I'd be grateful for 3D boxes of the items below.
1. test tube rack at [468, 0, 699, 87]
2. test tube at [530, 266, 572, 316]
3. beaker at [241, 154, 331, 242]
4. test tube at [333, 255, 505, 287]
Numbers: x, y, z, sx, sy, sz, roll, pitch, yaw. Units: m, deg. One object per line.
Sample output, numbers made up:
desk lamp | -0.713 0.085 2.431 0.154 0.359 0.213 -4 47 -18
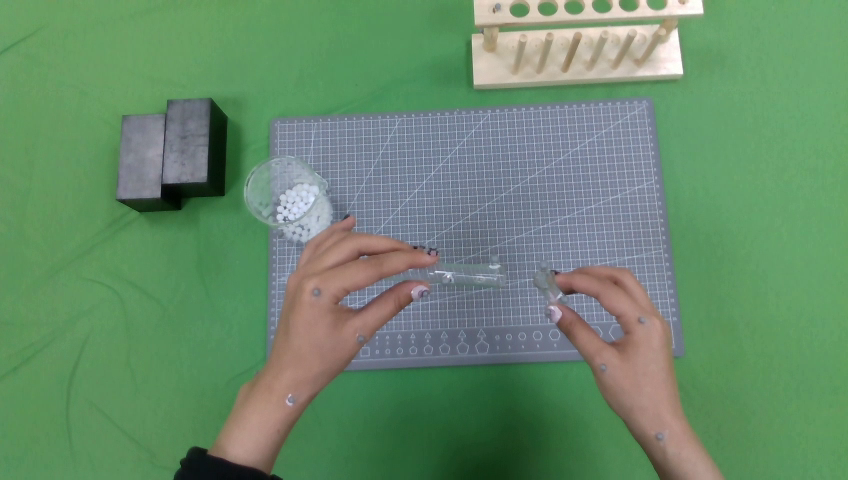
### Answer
test tube rack | 0.173 -0.229 0.685 0.242 0.085 0.066 -2 78 2
test tube | 0.106 0.045 0.496 0.017 0.152 0.017 -5 73 18
beaker | -0.140 -0.041 0.649 0.084 0.100 0.073 -10 78 0
test tube | -0.010 0.022 0.447 0.149 0.017 0.017 2 75 34
